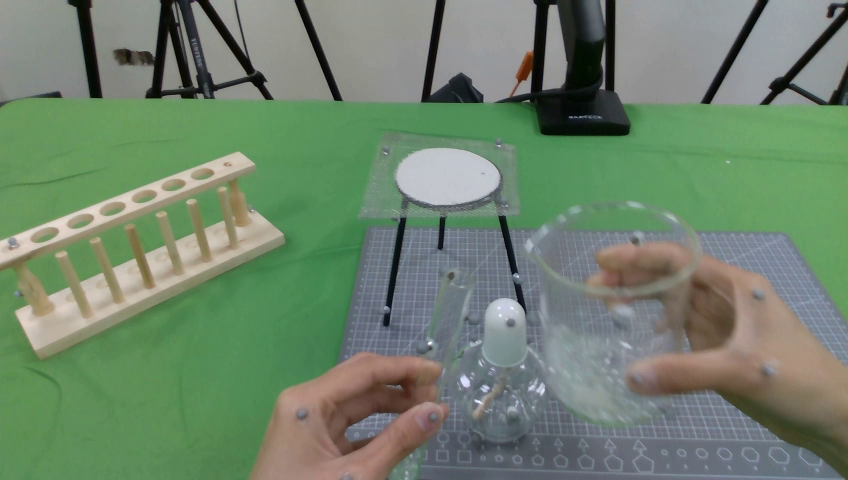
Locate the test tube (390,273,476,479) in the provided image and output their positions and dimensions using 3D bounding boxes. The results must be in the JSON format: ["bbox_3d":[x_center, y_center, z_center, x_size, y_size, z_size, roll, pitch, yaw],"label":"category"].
[{"bbox_3d":[0.001,0.083,0.313,0.017,0.151,0.017,11,27,-5],"label":"test tube"}]

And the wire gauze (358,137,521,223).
[{"bbox_3d":[0.016,-0.050,0.494,0.121,0.011,0.124,3,39,4],"label":"wire gauze"}]

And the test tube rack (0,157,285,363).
[{"bbox_3d":[-0.261,0.010,0.577,0.242,0.086,0.066,-29,45,-31],"label":"test tube rack"}]

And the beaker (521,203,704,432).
[{"bbox_3d":[0.094,0.043,0.313,0.083,0.101,0.073,2,36,17],"label":"beaker"}]

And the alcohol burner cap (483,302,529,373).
[{"bbox_3d":[0.056,0.064,0.414,0.034,0.048,0.033,-3,38,3],"label":"alcohol burner cap"}]

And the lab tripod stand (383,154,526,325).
[{"bbox_3d":[0.026,0.002,0.537,0.148,0.132,0.147,1,37,0],"label":"lab tripod stand"}]

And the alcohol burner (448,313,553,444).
[{"bbox_3d":[0.056,0.092,0.436,0.078,0.120,0.077,0,40,0],"label":"alcohol burner"}]
